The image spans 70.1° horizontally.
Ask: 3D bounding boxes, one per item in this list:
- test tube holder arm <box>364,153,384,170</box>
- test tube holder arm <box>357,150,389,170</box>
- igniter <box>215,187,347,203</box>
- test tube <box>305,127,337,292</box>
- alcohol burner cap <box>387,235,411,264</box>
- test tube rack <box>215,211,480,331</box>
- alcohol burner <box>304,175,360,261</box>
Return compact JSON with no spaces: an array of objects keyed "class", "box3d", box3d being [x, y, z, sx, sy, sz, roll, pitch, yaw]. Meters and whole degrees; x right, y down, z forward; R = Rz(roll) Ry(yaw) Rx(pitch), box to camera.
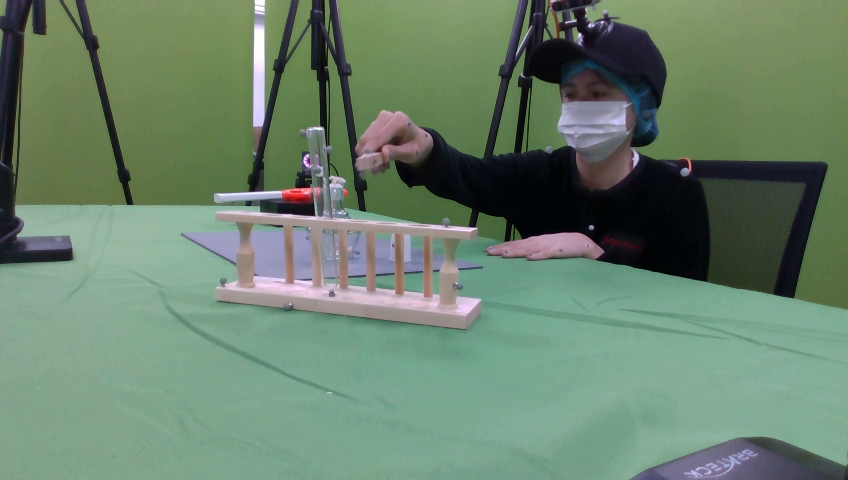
[{"class":"test tube holder arm","box3d":[-0.055,-0.087,0.661,0.010,0.015,0.088,-2,11,4]},{"class":"test tube holder arm","box3d":[-0.057,-0.095,0.706,0.013,0.015,0.178,-2,11,4]},{"class":"igniter","box3d":[-0.293,-0.095,1.267,0.278,0.025,0.057,-6,12,-34]},{"class":"test tube","box3d":[-0.092,-0.026,0.546,0.017,0.150,0.017,-4,9,1]},{"class":"alcohol burner cap","box3d":[-0.035,0.009,0.840,0.034,0.048,0.034,2,6,0]},{"class":"test tube rack","box3d":[-0.071,0.023,0.565,0.242,0.085,0.067,5,7,16]},{"class":"alcohol burner","box3d":[-0.126,-0.031,0.838,0.078,0.119,0.078,3,5,0]}]
